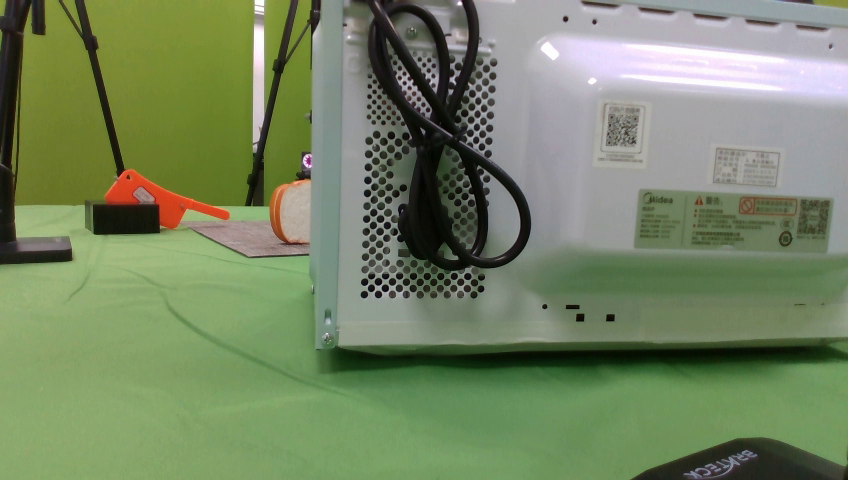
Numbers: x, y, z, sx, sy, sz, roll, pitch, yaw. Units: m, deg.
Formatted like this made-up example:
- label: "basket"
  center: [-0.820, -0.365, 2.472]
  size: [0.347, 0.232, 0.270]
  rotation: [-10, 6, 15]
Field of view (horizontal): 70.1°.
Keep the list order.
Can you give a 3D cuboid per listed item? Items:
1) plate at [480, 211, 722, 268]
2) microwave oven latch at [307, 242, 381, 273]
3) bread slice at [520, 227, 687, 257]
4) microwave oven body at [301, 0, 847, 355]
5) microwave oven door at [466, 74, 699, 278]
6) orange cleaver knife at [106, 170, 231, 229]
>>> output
- label: "plate"
  center: [0.154, -0.003, 0.548]
  size: [0.208, 0.039, 0.207]
  rotation: [2, 5, 0]
- label: "microwave oven latch"
  center: [-0.086, 0.019, 0.656]
  size: [0.079, 0.029, 0.030]
  rotation: [2, 7, -11]
- label: "bread slice"
  center: [0.172, 0.001, 0.565]
  size: [0.134, 0.018, 0.107]
  rotation: [-2, 6, 31]
- label: "microwave oven body"
  center: [0.120, -0.053, 0.535]
  size: [0.443, 0.260, 0.325]
  rotation: [2, 7, -11]
- label: "microwave oven door"
  center: [0.197, -0.095, 0.848]
  size: [0.039, 0.243, 0.354]
  rotation: [-3, 9, -39]
- label: "orange cleaver knife"
  center: [-0.458, -0.060, 1.097]
  size: [0.212, 0.077, 0.012]
  rotation: [23, -4, -38]
